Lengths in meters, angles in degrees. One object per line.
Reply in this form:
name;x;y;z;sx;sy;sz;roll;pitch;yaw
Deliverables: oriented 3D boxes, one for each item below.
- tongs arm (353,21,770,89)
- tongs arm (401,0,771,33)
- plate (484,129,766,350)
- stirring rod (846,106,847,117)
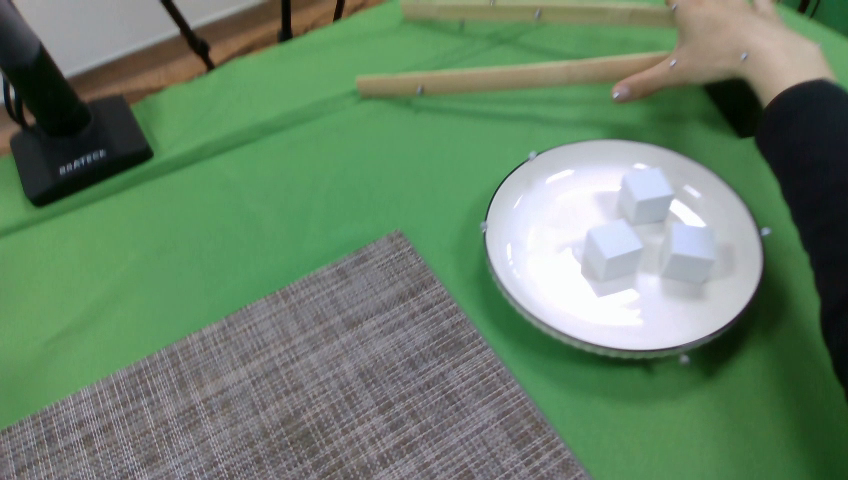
tongs arm;0.116;-0.171;0.579;0.386;0.028;0.028;-1;48;15
tongs arm;0.139;-0.233;0.620;0.383;0.027;0.050;10;55;22
plate;0.152;-0.003;0.479;0.207;0.039;0.205;-2;54;4
stirring rod;0.385;-0.049;0.442;0.006;0.014;0.174;-23;54;-17
